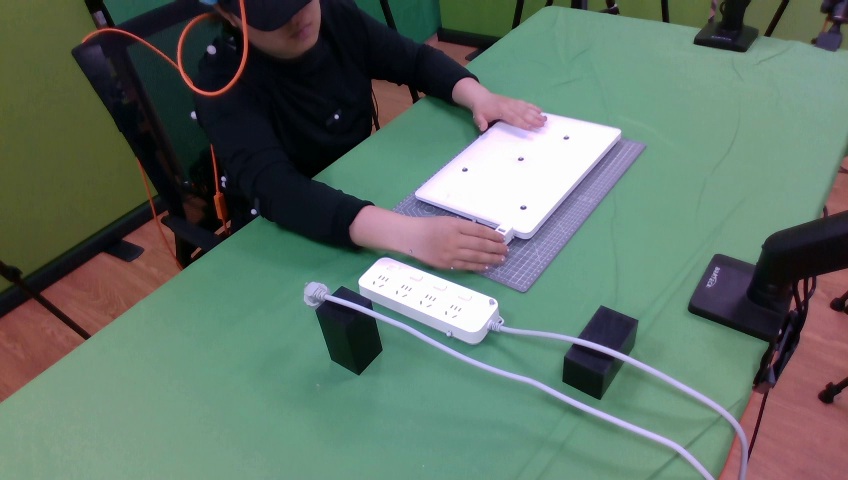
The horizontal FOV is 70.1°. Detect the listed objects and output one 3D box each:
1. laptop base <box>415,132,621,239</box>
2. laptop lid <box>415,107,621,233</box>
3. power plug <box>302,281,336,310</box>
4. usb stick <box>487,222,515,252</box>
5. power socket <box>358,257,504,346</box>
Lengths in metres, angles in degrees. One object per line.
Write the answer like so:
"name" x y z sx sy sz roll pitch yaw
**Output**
"laptop base" 0.179 -0.134 1.101 0.233 0.023 0.355 20 47 33
"laptop lid" 0.176 -0.144 1.094 0.239 0.013 0.358 23 49 33
"power plug" -0.133 0.081 0.783 0.035 0.053 0.072 -43 48 -8
"usb stick" 0.124 -0.008 0.943 0.021 0.027 0.059 30 48 28
"power socket" 0.003 0.084 0.862 0.225 0.033 0.072 20 49 28
